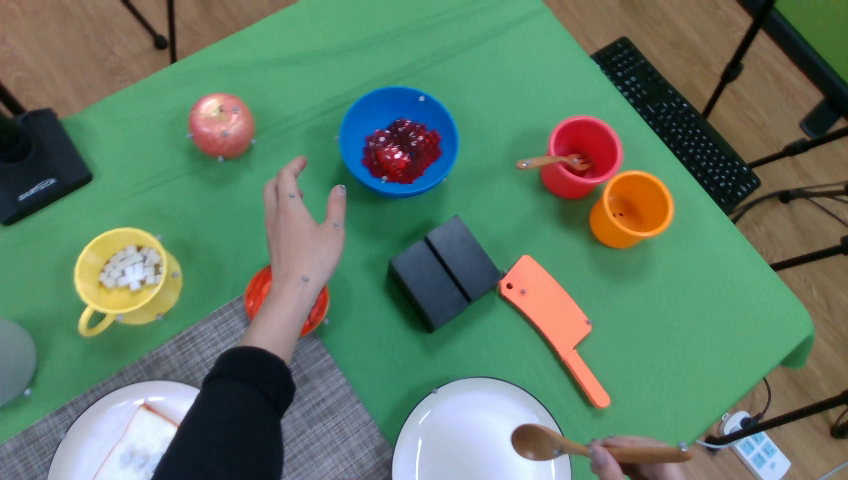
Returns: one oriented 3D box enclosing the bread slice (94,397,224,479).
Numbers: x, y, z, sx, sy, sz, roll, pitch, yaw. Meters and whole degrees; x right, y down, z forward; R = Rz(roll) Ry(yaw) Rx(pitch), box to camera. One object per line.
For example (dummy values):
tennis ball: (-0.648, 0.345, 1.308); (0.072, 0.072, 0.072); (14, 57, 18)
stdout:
bread slice: (-0.298, 0.252, 0.656); (0.105, 0.019, 0.131); (29, 71, 3)

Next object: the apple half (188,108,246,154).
apple half: (-0.265, -0.127, 0.764); (0.081, 0.081, 0.032); (21, 66, 1)

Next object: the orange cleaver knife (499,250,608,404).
orange cleaver knife: (0.175, 0.107, 0.771); (0.077, 0.012, 0.210); (-31, 77, -21)

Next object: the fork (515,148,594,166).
fork: (0.169, -0.105, 0.770); (0.208, 0.018, 0.028); (-11, 68, -54)

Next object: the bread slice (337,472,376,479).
bread slice: (-0.083, 0.314, 0.637); (0.106, 0.018, 0.134); (44, 53, 11)

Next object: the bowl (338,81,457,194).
bowl: (-0.036, -0.120, 0.787); (0.151, 0.077, 0.150); (2, 72, -6)

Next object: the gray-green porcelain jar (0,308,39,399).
gray-green porcelain jar: (-0.482, 0.116, 0.635); (0.106, 0.127, 0.105); (2, 72, -6)

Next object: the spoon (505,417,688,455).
spoon: (0.141, 0.177, 0.528); (0.021, 0.193, 0.042); (-30, 97, -34)

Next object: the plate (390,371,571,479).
plate: (0.064, 0.258, 0.700); (0.209, 0.038, 0.208); (2, 72, -6)

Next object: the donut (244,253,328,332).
donut: (-0.165, 0.063, 0.728); (0.099, 0.048, 0.098); (2, 73, -7)

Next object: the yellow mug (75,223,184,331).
yellow mug: (-0.349, 0.049, 0.703); (0.100, 0.064, 0.130); (31, 72, 4)

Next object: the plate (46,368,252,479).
plate: (-0.291, 0.246, 0.658); (0.208, 0.039, 0.206); (2, 72, -6)

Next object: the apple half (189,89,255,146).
apple half: (-0.252, -0.160, 0.778); (0.081, 0.075, 0.053); (21, 66, 5)
